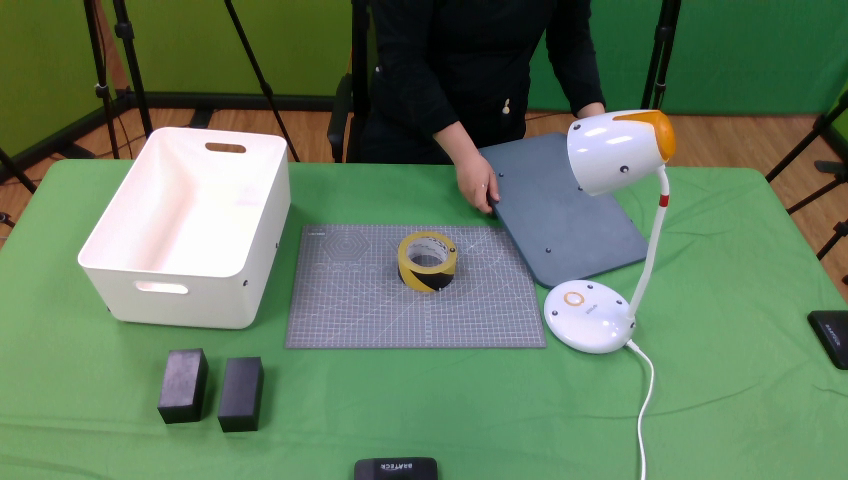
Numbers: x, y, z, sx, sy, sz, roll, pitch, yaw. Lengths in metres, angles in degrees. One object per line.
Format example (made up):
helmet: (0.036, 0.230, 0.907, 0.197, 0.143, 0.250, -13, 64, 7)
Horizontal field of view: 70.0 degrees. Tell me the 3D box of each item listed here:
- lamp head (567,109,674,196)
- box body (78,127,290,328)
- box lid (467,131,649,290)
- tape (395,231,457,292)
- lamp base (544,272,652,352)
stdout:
lamp head: (0.272, -0.123, 0.818, 0.122, 0.113, 0.112, -9, 35, 37)
box body: (-0.400, -0.026, 1.095, 0.254, 0.161, 0.362, 4, 46, 0)
box lid: (0.272, -0.075, 1.259, 0.263, 0.015, 0.369, -15, 59, -18)
tape: (0.005, 0.039, 1.136, 0.117, 0.053, 0.116, 2, 46, -1)
lamp base: (0.309, 0.086, 1.029, 0.178, 0.181, 0.160, 32, 52, 21)
